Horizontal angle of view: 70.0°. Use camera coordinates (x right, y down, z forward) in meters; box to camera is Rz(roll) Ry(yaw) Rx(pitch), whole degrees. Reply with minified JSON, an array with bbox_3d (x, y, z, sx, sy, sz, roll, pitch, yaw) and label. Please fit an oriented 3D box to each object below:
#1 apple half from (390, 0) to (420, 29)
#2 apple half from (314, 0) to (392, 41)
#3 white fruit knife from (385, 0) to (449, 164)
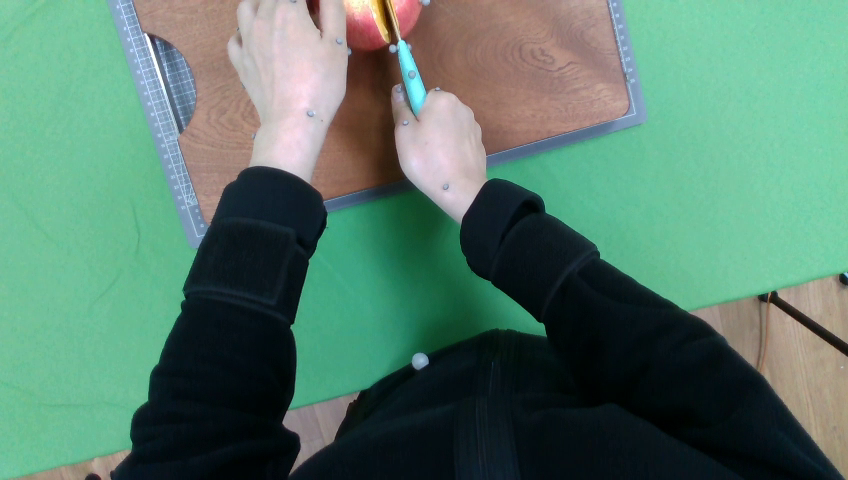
[{"bbox_3d":[-0.018,-0.212,0.489,0.033,0.081,0.081,-19,98,-1],"label":"apple half"},{"bbox_3d":[-0.061,-0.201,0.492,0.053,0.074,0.081,-11,99,13],"label":"apple half"},{"bbox_3d":[-0.018,-0.162,0.498,0.016,0.027,0.208,-20,100,-4],"label":"white fruit knife"}]
